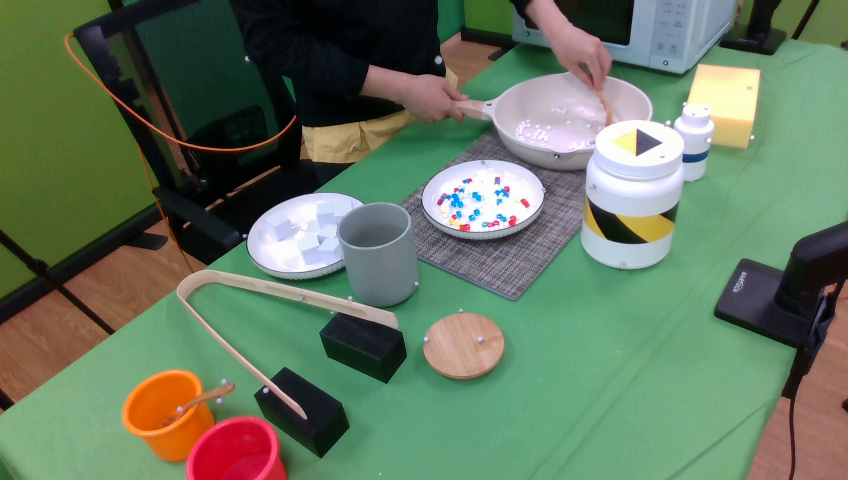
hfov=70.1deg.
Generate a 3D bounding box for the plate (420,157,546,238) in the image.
[{"bbox_3d":[0.099,-0.067,1.017,0.209,0.038,0.208,-4,40,4],"label":"plate"}]

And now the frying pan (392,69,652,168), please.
[{"bbox_3d":[0.175,-0.248,1.166,0.487,0.103,0.306,12,43,9],"label":"frying pan"}]

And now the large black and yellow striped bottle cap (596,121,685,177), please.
[{"bbox_3d":[0.293,-0.126,0.821,0.115,0.019,0.114,-5,40,4],"label":"large black and yellow striped bottle cap"}]

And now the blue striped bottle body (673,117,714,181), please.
[{"bbox_3d":[0.449,-0.165,1.022,0.063,0.121,0.063,-5,41,4],"label":"blue striped bottle body"}]

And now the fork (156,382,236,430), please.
[{"bbox_3d":[-0.262,0.189,0.690,0.018,0.206,0.028,49,43,-7],"label":"fork"}]

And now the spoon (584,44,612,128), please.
[{"bbox_3d":[0.341,-0.307,1.193,0.021,0.042,0.193,-20,68,17],"label":"spoon"}]

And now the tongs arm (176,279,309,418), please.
[{"bbox_3d":[-0.254,0.132,0.801,0.028,0.028,0.384,-41,40,-23],"label":"tongs arm"}]

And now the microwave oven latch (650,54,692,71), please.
[{"bbox_3d":[0.531,-0.386,1.301,0.078,0.029,0.030,25,51,32],"label":"microwave oven latch"}]

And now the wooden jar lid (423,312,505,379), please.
[{"bbox_3d":[0.053,0.142,0.800,0.108,0.021,0.108,-5,39,4],"label":"wooden jar lid"}]

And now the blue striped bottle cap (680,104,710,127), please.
[{"bbox_3d":[0.443,-0.205,0.989,0.044,0.021,0.044,-1,41,2],"label":"blue striped bottle cap"}]

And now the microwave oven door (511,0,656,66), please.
[{"bbox_3d":[0.351,-0.540,1.349,0.353,0.245,0.039,24,50,31],"label":"microwave oven door"}]

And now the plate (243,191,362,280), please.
[{"bbox_3d":[-0.188,-0.005,0.992,0.207,0.039,0.206,-4,40,4],"label":"plate"}]

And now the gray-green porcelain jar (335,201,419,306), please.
[{"bbox_3d":[-0.064,0.024,0.872,0.106,0.127,0.105,-4,41,4],"label":"gray-green porcelain jar"}]

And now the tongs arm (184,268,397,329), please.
[{"bbox_3d":[-0.202,0.084,0.848,0.382,0.027,0.051,11,45,35],"label":"tongs arm"}]

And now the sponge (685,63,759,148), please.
[{"bbox_3d":[0.569,-0.263,1.164,0.117,0.061,0.207,12,45,22],"label":"sponge"}]

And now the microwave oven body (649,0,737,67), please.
[{"bbox_3d":[0.475,-0.602,1.411,0.438,0.261,0.327,23,50,32],"label":"microwave oven body"}]

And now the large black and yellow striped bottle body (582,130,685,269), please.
[{"bbox_3d":[0.301,-0.063,0.877,0.131,0.185,0.130,-4,41,4],"label":"large black and yellow striped bottle body"}]
